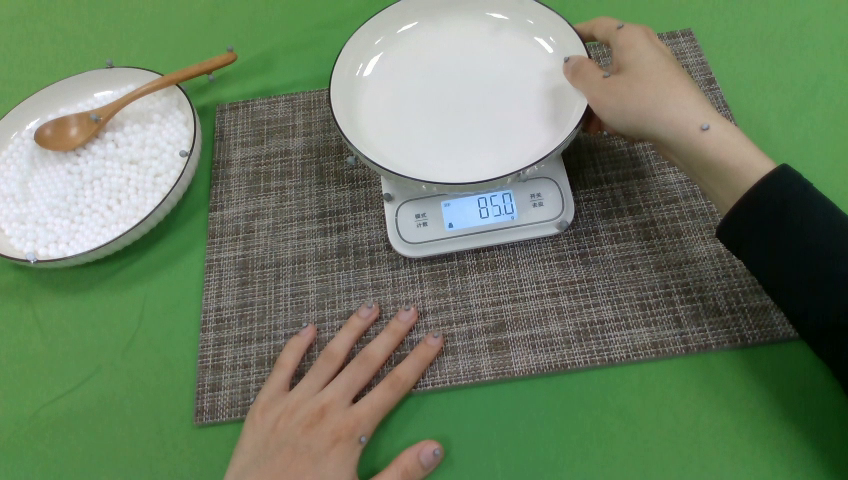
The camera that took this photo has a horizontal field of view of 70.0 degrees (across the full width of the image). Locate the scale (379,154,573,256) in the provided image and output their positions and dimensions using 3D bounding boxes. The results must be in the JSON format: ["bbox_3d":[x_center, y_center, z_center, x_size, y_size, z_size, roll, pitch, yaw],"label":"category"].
[{"bbox_3d":[0.033,-0.087,0.508,0.148,0.032,0.199,-9,62,2],"label":"scale"}]

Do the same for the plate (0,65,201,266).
[{"bbox_3d":[-0.296,-0.066,0.535,0.209,0.038,0.207,-2,62,5],"label":"plate"}]

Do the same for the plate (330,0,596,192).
[{"bbox_3d":[0.030,-0.122,0.489,0.207,0.039,0.206,-2,61,5],"label":"plate"}]

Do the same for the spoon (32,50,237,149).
[{"bbox_3d":[-0.260,-0.130,0.547,0.194,0.022,0.041,-25,61,1],"label":"spoon"}]
